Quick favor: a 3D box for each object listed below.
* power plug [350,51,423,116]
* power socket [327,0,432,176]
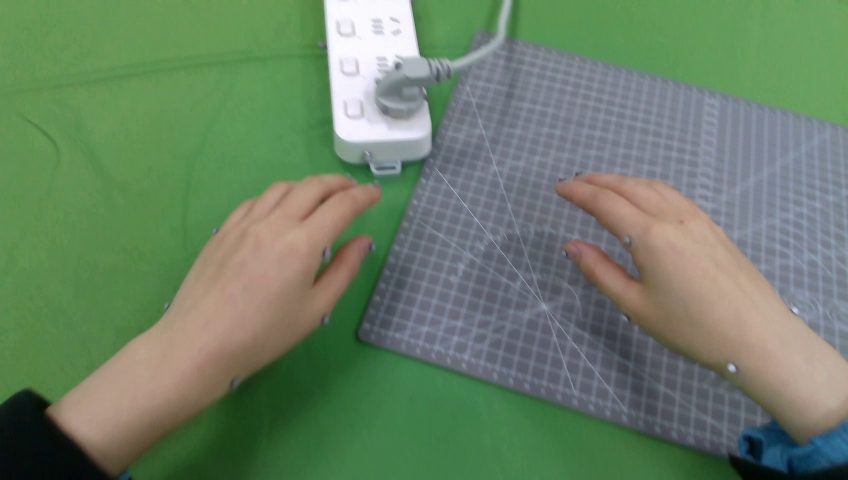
[{"bbox_3d":[-0.035,-0.117,0.440,0.072,0.035,0.052,15,63,30],"label":"power plug"},{"bbox_3d":[-0.040,-0.152,0.487,0.072,0.033,0.224,-3,60,-8],"label":"power socket"}]
